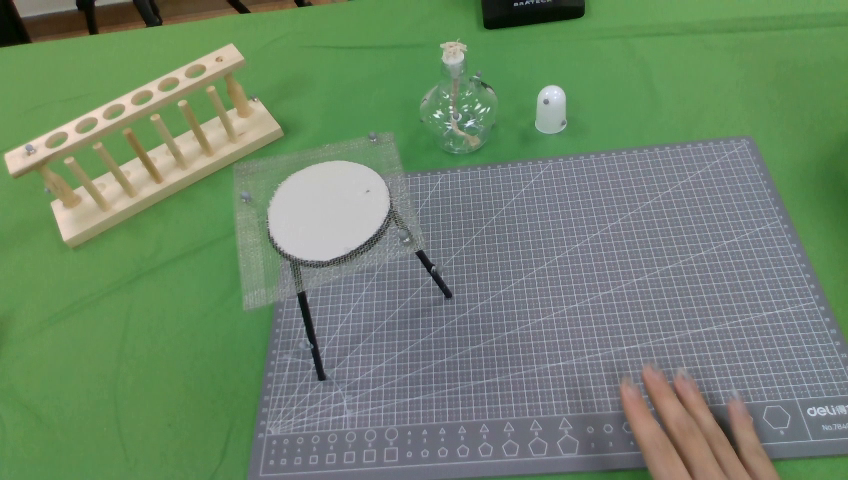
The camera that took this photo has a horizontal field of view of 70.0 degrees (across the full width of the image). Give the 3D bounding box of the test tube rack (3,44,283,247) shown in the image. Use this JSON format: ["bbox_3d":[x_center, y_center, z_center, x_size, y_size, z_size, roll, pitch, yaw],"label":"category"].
[{"bbox_3d":[-0.278,-0.099,0.621,0.242,0.086,0.066,-32,56,-14],"label":"test tube rack"}]

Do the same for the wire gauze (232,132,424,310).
[{"bbox_3d":[-0.070,-0.021,0.414,0.121,0.011,0.123,-15,55,-2],"label":"wire gauze"}]

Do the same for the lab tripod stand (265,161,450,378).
[{"bbox_3d":[-0.059,0.019,0.467,0.148,0.133,0.147,-4,56,6],"label":"lab tripod stand"}]

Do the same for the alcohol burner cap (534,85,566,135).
[{"bbox_3d":[0.127,-0.133,0.609,0.034,0.048,0.033,-5,54,8],"label":"alcohol burner cap"}]

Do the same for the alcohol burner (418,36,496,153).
[{"bbox_3d":[0.031,-0.143,0.586,0.078,0.120,0.077,-4,52,6],"label":"alcohol burner"}]
